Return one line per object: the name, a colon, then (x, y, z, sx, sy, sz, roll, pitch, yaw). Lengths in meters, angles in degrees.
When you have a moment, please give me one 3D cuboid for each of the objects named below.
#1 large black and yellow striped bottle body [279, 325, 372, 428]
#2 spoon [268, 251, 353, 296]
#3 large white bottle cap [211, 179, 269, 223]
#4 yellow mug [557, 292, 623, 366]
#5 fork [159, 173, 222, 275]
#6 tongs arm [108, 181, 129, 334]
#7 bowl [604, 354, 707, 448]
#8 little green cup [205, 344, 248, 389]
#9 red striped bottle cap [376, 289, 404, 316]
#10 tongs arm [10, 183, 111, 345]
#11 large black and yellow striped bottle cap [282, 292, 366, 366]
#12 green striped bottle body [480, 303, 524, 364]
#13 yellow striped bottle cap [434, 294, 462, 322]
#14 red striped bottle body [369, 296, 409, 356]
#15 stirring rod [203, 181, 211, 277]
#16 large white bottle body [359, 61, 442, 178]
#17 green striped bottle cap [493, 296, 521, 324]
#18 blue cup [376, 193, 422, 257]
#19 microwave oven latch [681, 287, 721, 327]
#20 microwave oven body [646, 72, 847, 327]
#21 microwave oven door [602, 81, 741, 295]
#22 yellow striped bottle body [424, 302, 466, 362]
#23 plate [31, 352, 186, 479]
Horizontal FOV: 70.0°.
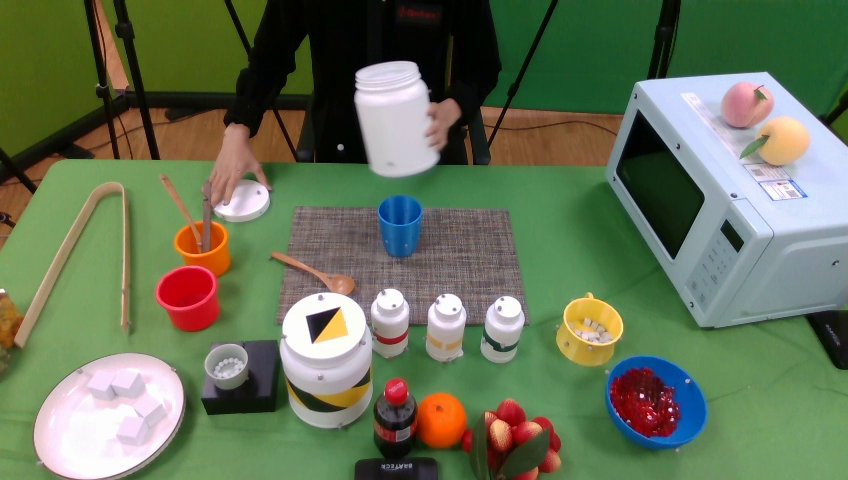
large black and yellow striped bottle body: (-0.143, 0.181, 0.900, 0.131, 0.185, 0.130, 2, 46, -2)
spoon: (-0.212, 0.057, 1.121, 0.193, 0.022, 0.041, 24, 74, 18)
large white bottle cap: (-0.379, -0.082, 1.250, 0.115, 0.018, 0.114, 3, 48, -3)
yellow mug: (0.285, 0.145, 1.051, 0.100, 0.064, 0.130, 7, 45, 4)
fork: (-0.427, -0.029, 1.103, 0.028, 0.018, 0.207, -31, 99, -30)
tongs arm: (-0.571, 0.019, 1.123, 0.051, 0.026, 0.382, -10, 47, -12)
bowl: (0.346, 0.261, 0.937, 0.151, 0.077, 0.150, 2, 46, -2)
little green cup: (-0.294, 0.191, 0.909, 0.061, 0.039, 0.061, 1, 47, -1)
red striped bottle cap: (-0.054, 0.098, 0.958, 0.044, 0.018, 0.044, 0, 48, 1)
tongs arm: (-0.658, 0.027, 1.109, 0.028, 0.028, 0.385, -2, 45, 2)
large black and yellow striped bottle cap: (-0.138, 0.121, 0.841, 0.115, 0.019, 0.114, 3, 47, -3)
green striped bottle body: (0.129, 0.147, 1.000, 0.063, 0.120, 0.063, 2, 46, -2)
yellow striped bottle cap: (0.038, 0.107, 0.958, 0.044, 0.019, 0.044, 2, 45, -2)
red striped bottle body: (-0.059, 0.134, 0.997, 0.063, 0.120, 0.062, 5, 48, -5)
stirring rod: (-0.396, -0.021, 1.107, 0.014, 0.006, 0.176, -1, 89, -1)
large white bottle body: (-0.044, -0.221, 1.109, 0.130, 0.185, 0.130, -9, 29, 5)
green striped bottle cap: (0.133, 0.111, 0.962, 0.044, 0.020, 0.044, 2, 47, -2)
blue cup: (-0.047, -0.022, 1.155, 0.093, 0.101, 0.092, 1, 47, -1)
microwave oven latch: (0.494, 0.119, 1.086, 0.030, 0.029, 0.078, -5, 46, -9)
microwave oven body: (0.607, -0.089, 1.163, 0.326, 0.261, 0.438, -7, 46, -10)
microwave oven door: (0.456, -0.107, 1.162, 0.039, 0.245, 0.353, -7, 47, -11)
yellow striped bottle body: (0.035, 0.143, 0.995, 0.063, 0.121, 0.062, 3, 46, -3)
plate: (-0.459, 0.262, 0.898, 0.209, 0.038, 0.208, 2, 46, -2)
